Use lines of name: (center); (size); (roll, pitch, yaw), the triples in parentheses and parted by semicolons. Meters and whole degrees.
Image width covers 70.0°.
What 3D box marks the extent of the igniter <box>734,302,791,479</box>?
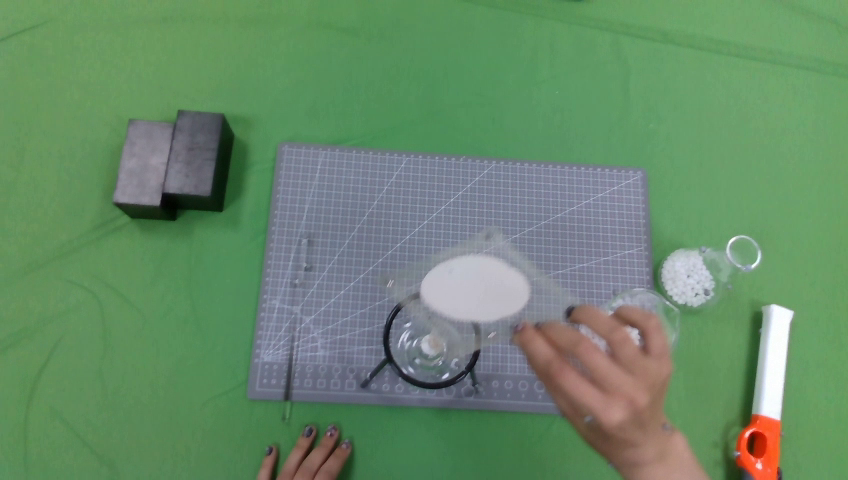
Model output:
igniter: (0.370, 0.202, 0.663); (0.057, 0.025, 0.275); (19, 73, -9)

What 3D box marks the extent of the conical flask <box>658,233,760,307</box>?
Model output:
conical flask: (0.313, 0.027, 0.660); (0.075, 0.122, 0.075); (1, 73, -3)

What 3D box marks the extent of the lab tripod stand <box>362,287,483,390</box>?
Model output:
lab tripod stand: (0.002, 0.108, 0.605); (0.148, 0.132, 0.147); (1, 76, -3)

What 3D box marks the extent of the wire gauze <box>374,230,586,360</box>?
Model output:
wire gauze: (0.041, 0.039, 0.481); (0.125, 0.011, 0.120); (-19, 38, -25)

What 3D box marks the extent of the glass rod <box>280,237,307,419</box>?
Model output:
glass rod: (-0.142, 0.093, 0.663); (0.008, 0.008, 0.198); (5, 76, -3)

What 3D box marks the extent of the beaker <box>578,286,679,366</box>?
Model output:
beaker: (0.212, 0.094, 0.642); (0.084, 0.100, 0.073); (-19, 76, -10)

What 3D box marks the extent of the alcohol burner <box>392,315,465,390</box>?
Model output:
alcohol burner: (0.005, 0.111, 0.614); (0.078, 0.119, 0.077); (1, 72, -2)

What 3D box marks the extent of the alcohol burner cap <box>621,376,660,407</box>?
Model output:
alcohol burner cap: (0.236, 0.162, 0.654); (0.034, 0.048, 0.033); (1, 73, -4)
